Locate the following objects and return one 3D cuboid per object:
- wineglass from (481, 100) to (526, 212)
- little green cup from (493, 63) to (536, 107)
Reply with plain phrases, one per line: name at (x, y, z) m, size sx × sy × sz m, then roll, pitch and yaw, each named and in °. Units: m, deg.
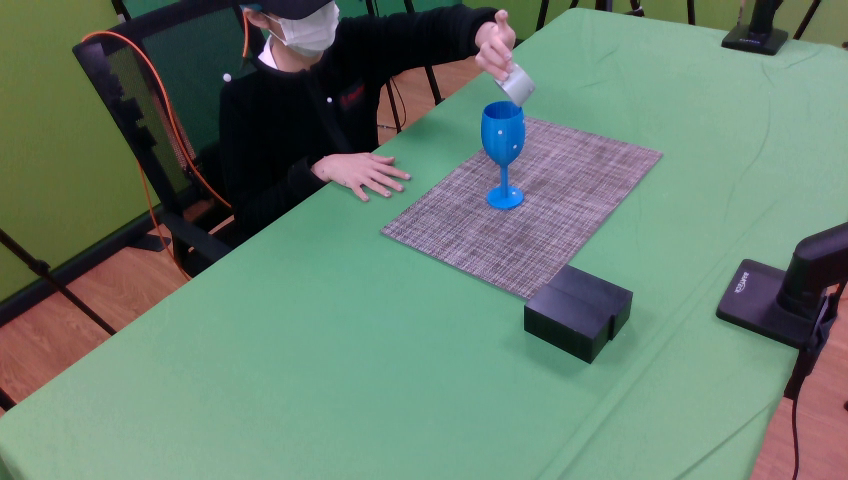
wineglass at (0.132, -0.137, 0.993) m, size 0.074 × 0.173 × 0.073 m, roll -5°, pitch 40°, yaw 4°
little green cup at (0.138, -0.237, 0.919) m, size 0.038 × 0.062 × 0.061 m, roll -44°, pitch 41°, yaw 12°
